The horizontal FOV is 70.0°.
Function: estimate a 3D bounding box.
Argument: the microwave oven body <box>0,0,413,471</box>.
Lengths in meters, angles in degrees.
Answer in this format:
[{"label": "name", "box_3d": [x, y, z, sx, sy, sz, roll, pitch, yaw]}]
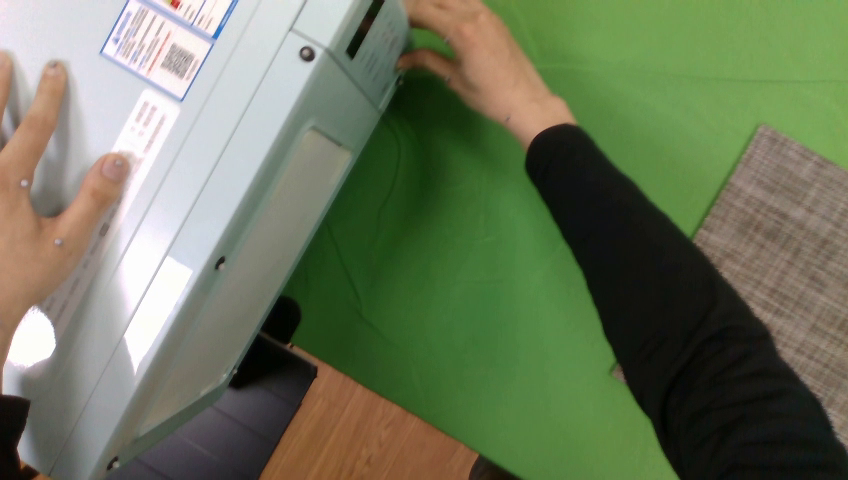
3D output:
[{"label": "microwave oven body", "box_3d": [-0.262, -0.099, 0.527, 0.326, 0.260, 0.442, 31, 95, 1]}]

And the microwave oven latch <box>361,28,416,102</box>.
[{"label": "microwave oven latch", "box_3d": [-0.038, -0.180, 0.605, 0.030, 0.029, 0.079, 33, 95, 1]}]

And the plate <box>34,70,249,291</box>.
[{"label": "plate", "box_3d": [-0.268, -0.056, 0.588, 0.209, 0.038, 0.209, 0, 95, 4]}]

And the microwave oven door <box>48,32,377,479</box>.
[{"label": "microwave oven door", "box_3d": [-0.159, 0.012, 0.523, 0.039, 0.244, 0.356, 30, 94, 2]}]
